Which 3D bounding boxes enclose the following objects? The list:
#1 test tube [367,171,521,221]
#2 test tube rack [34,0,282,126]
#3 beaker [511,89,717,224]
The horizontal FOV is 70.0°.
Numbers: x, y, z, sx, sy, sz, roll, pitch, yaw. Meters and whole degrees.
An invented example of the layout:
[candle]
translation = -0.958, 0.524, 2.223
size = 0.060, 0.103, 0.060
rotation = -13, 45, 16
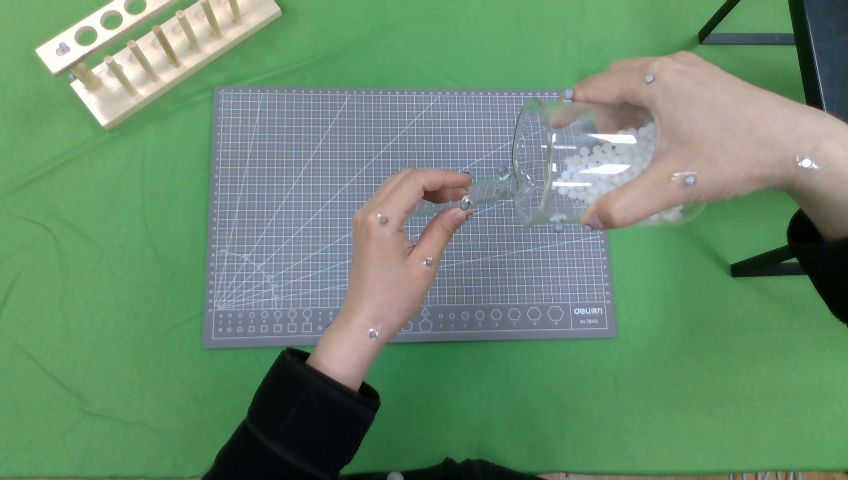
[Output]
[test tube]
translation = 0.008, -0.029, 0.440
size = 0.017, 0.149, 0.017
rotation = 7, 79, -43
[test tube rack]
translation = -0.281, -0.235, 0.667
size = 0.242, 0.085, 0.066
rotation = -38, 83, -11
[beaker]
translation = 0.107, -0.045, 0.356
size = 0.100, 0.084, 0.073
rotation = 1, 77, -7
